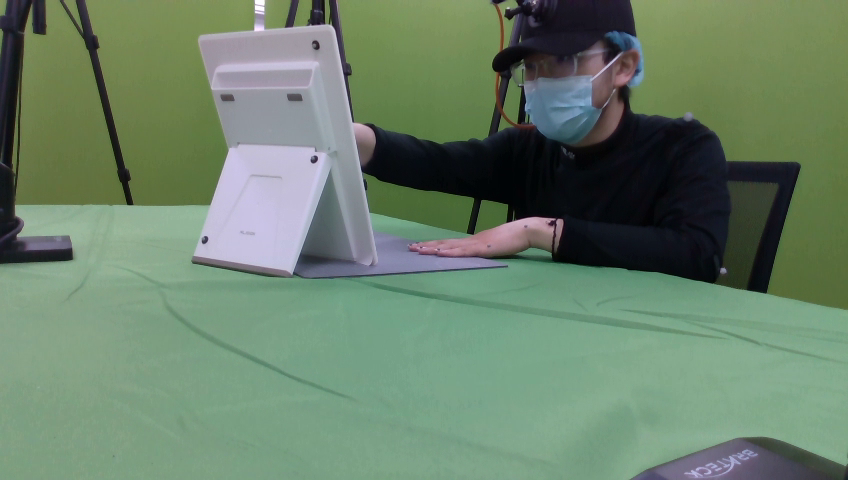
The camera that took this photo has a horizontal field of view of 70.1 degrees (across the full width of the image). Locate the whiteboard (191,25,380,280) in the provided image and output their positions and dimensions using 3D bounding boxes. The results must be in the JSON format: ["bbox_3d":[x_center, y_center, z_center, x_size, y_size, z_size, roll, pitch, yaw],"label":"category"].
[{"bbox_3d":[-0.206,-0.085,0.732,0.216,0.305,0.144,7,30,30],"label":"whiteboard"}]

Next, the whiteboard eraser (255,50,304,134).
[{"bbox_3d":[-0.190,-0.190,0.793,0.042,0.055,0.112,-38,-18,-22],"label":"whiteboard eraser"}]
